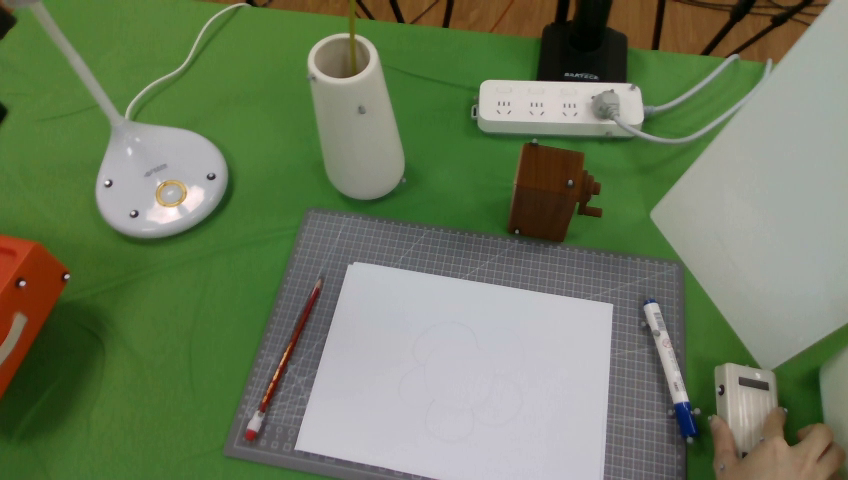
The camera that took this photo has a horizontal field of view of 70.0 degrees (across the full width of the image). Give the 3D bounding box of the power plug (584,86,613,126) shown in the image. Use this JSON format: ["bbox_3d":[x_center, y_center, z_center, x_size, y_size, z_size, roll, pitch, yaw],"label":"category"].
[{"bbox_3d":[0.216,-0.160,0.756,0.035,0.053,0.072,12,64,9],"label":"power plug"}]

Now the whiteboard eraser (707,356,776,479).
[{"bbox_3d":[0.308,0.173,0.593,0.056,0.042,0.112,13,63,-4],"label":"whiteboard eraser"}]

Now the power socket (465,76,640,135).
[{"bbox_3d":[0.168,-0.177,0.793,0.227,0.033,0.071,3,62,3],"label":"power socket"}]

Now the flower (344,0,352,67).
[{"bbox_3d":[-0.077,-0.189,0.617,0.038,0.365,0.043,-2,43,-7],"label":"flower"}]

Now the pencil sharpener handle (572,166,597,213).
[{"bbox_3d":[0.181,-0.053,0.668,0.030,0.068,0.035,10,60,7],"label":"pencil sharpener handle"}]

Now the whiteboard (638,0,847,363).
[{"bbox_3d":[0.403,-0.051,0.598,0.144,0.307,0.215,-12,59,-26],"label":"whiteboard"}]

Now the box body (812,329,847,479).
[{"bbox_3d":[0.488,0.241,0.482,0.254,0.161,0.361,8,62,6],"label":"box body"}]

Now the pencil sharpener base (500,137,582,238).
[{"bbox_3d":[0.132,-0.056,0.685,0.076,0.108,0.061,10,61,7],"label":"pencil sharpener base"}]

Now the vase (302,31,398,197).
[{"bbox_3d":[-0.084,-0.134,0.681,0.098,0.201,0.097,-1,60,3],"label":"vase"}]

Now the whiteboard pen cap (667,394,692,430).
[{"bbox_3d":[0.252,0.170,0.601,0.018,0.018,0.033,-6,60,-1],"label":"whiteboard pen cap"}]

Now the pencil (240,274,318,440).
[{"bbox_3d":[-0.151,0.118,0.650,0.012,0.012,0.193,15,61,10],"label":"pencil"}]

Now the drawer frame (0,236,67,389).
[{"bbox_3d":[-0.511,0.082,0.592,0.213,0.083,0.200,11,63,5],"label":"drawer frame"}]

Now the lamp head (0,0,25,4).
[{"bbox_3d":[-0.305,-0.249,0.430,0.123,0.112,0.112,47,67,-17],"label":"lamp head"}]

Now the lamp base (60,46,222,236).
[{"bbox_3d":[-0.344,-0.120,0.690,0.178,0.182,0.160,39,68,23],"label":"lamp base"}]

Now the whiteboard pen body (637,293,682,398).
[{"bbox_3d":[0.248,0.120,0.631,0.017,0.017,0.139,-7,61,-2],"label":"whiteboard pen body"}]

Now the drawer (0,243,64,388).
[{"bbox_3d":[-0.505,0.081,0.590,0.211,0.074,0.193,11,63,7],"label":"drawer"}]
